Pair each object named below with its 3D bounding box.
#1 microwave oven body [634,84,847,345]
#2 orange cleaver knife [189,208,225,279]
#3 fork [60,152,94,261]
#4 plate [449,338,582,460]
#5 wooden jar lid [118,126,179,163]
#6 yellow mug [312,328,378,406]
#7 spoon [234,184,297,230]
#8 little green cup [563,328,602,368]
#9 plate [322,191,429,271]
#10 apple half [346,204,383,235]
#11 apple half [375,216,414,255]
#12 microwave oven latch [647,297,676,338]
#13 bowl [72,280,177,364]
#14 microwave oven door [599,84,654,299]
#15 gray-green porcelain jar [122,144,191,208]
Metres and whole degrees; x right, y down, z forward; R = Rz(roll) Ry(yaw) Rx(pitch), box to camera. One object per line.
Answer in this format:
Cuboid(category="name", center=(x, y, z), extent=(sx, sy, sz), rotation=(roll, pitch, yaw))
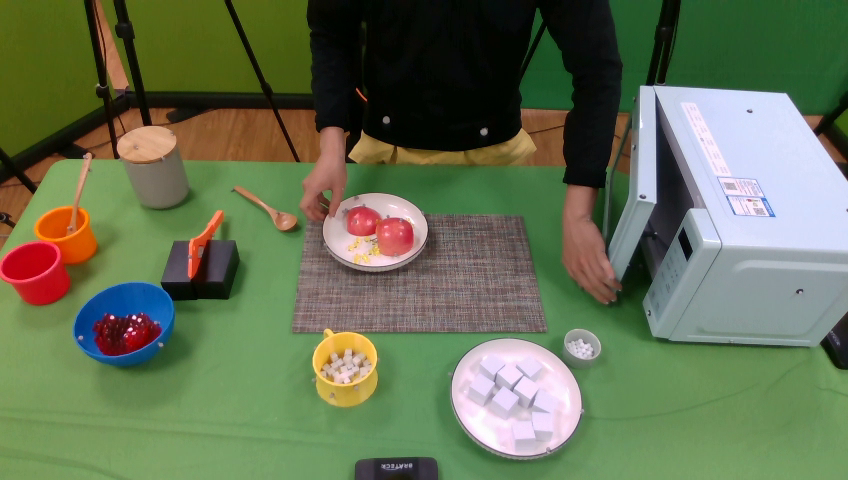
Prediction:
Cuboid(category="microwave oven body", center=(0.569, -0.054, 1.116), extent=(0.326, 0.261, 0.439), rotation=(2, 46, -1))
Cuboid(category="orange cleaver knife", center=(-0.400, 0.002, 1.122), extent=(0.012, 0.077, 0.210), rotation=(4, 23, -4))
Cuboid(category="fork", center=(-0.638, -0.063, 1.119), extent=(0.028, 0.018, 0.207), rotation=(12, 90, 7))
Cuboid(category="plate", center=(0.141, 0.251, 0.956), extent=(0.208, 0.039, 0.206), rotation=(2, 46, -2))
Cuboid(category="wooden jar lid", center=(-0.528, -0.181, 1.167), extent=(0.108, 0.021, 0.107), rotation=(3, 47, -4))
Cuboid(category="yellow mug", center=(-0.132, 0.193, 0.971), extent=(0.100, 0.064, 0.130), rotation=(-22, 51, -22))
Cuboid(category="spoon", center=(-0.327, -0.073, 1.239), extent=(0.193, 0.022, 0.041), rotation=(34, 71, 25))
Cuboid(category="little green cup", center=(0.266, 0.184, 1.025), extent=(0.061, 0.039, 0.061), rotation=(1, 46, -1))
Cuboid(category="plate", center=(-0.093, -0.015, 1.185), extent=(0.209, 0.038, 0.208), rotation=(2, 46, -2))
Cuboid(category="apple half", center=(-0.119, -0.049, 1.207), extent=(0.081, 0.033, 0.081), rotation=(3, 50, -3))
Cuboid(category="apple half", center=(-0.056, -0.017, 1.169), extent=(0.075, 0.053, 0.080), rotation=(0, 45, -7))
Cuboid(category="microwave oven latch", center=(0.413, 0.133, 1.060), extent=(0.030, 0.029, 0.078), rotation=(4, 46, 2))
Cuboid(category="bowl", center=(-0.472, 0.147, 0.982), extent=(0.151, 0.077, 0.150), rotation=(2, 46, -2))
Cuboid(category="microwave oven door", center=(0.385, -0.101, 1.141), extent=(0.039, 0.245, 0.354), rotation=(12, 47, 8))
Cuboid(category="gray-green porcelain jar", center=(-0.531, -0.137, 1.213), extent=(0.106, 0.127, 0.105), rotation=(2, 47, -2))
